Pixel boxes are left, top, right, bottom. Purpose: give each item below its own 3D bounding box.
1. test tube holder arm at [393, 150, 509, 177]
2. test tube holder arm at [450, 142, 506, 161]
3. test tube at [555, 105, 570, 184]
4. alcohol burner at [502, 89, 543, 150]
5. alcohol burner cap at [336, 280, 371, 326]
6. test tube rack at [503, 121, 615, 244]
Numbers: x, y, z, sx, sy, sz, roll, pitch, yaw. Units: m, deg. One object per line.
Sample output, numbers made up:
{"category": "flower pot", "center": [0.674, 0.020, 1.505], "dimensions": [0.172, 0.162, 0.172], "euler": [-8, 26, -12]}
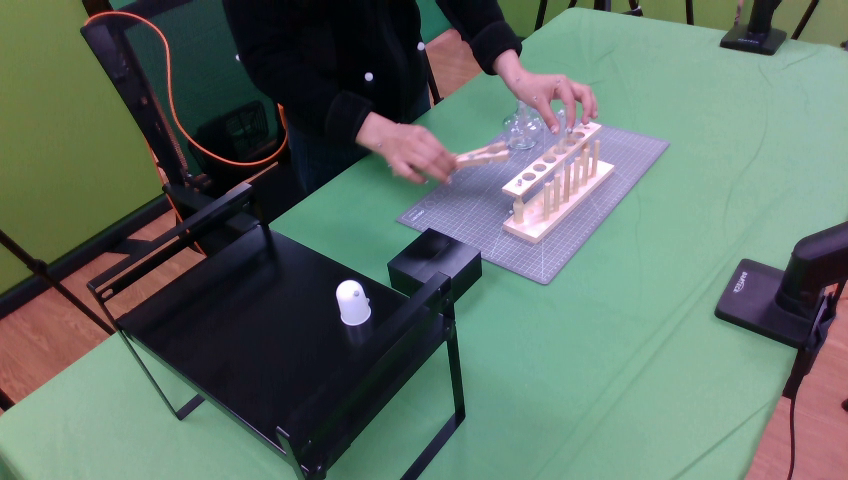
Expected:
{"category": "test tube holder arm", "center": [0.040, -0.117, 0.924], "dimensions": [0.178, 0.015, 0.013], "euler": [-9, 46, 4]}
{"category": "test tube holder arm", "center": [0.083, -0.130, 0.927], "dimensions": [0.088, 0.015, 0.010], "euler": [-18, 47, -5]}
{"category": "test tube", "center": [0.225, -0.151, 0.987], "dimensions": [0.017, 0.151, 0.017], "euler": [-4, 43, 4]}
{"category": "alcohol burner", "center": [0.186, -0.233, 1.147], "dimensions": [0.078, 0.119, 0.077], "euler": [-4, 42, 4]}
{"category": "alcohol burner cap", "center": [-0.073, 0.061, 0.619], "dimensions": [0.034, 0.048, 0.033], "euler": [-4, 41, 4]}
{"category": "test tube rack", "center": [0.230, -0.101, 1.006], "dimensions": [0.066, 0.085, 0.243], "euler": [25, 50, 35]}
